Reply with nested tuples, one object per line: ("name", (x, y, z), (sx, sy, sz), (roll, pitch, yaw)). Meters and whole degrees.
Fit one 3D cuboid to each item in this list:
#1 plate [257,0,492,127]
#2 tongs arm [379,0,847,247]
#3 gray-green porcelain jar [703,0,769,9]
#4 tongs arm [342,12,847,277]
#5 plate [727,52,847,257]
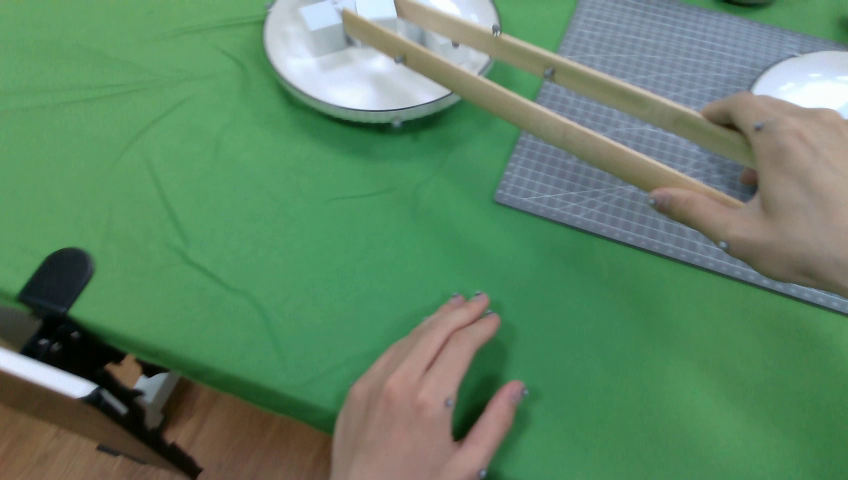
("plate", (-0.043, -0.178, 0.550), (0.208, 0.039, 0.205), (1, 58, -1))
("tongs arm", (0.099, -0.096, 0.421), (0.382, 0.027, 0.050), (31, 62, 24))
("gray-green porcelain jar", (0.315, -0.299, 0.582), (0.106, 0.127, 0.105), (0, 58, 0))
("tongs arm", (0.081, -0.079, 0.411), (0.384, 0.028, 0.028), (34, 60, 25))
("plate", (0.347, -0.066, 0.487), (0.209, 0.038, 0.207), (1, 58, -1))
